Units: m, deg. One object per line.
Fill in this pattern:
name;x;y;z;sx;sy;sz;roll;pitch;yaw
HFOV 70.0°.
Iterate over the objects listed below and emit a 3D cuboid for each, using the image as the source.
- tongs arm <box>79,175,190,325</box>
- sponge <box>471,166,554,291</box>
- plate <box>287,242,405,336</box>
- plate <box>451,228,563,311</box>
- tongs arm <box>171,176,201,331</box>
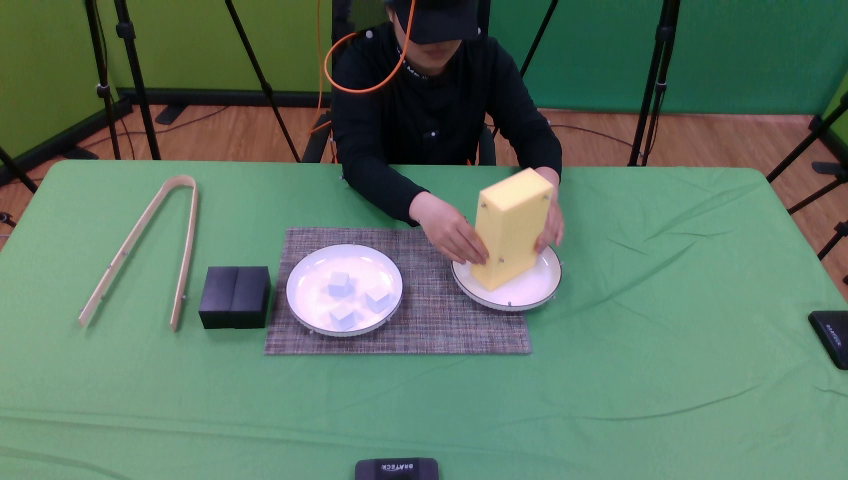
tongs arm;-0.534;0.005;1.145;0.051;0.026;0.382;6;45;1
sponge;0.154;-0.017;1.078;0.118;0.208;0.060;-28;53;-25
plate;-0.138;0.090;1.085;0.208;0.039;0.206;2;46;-2
plate;0.153;0.054;1.140;0.209;0.038;0.208;2;46;-2
tongs arm;-0.453;0.010;1.151;0.028;0.028;0.385;-6;47;-6
